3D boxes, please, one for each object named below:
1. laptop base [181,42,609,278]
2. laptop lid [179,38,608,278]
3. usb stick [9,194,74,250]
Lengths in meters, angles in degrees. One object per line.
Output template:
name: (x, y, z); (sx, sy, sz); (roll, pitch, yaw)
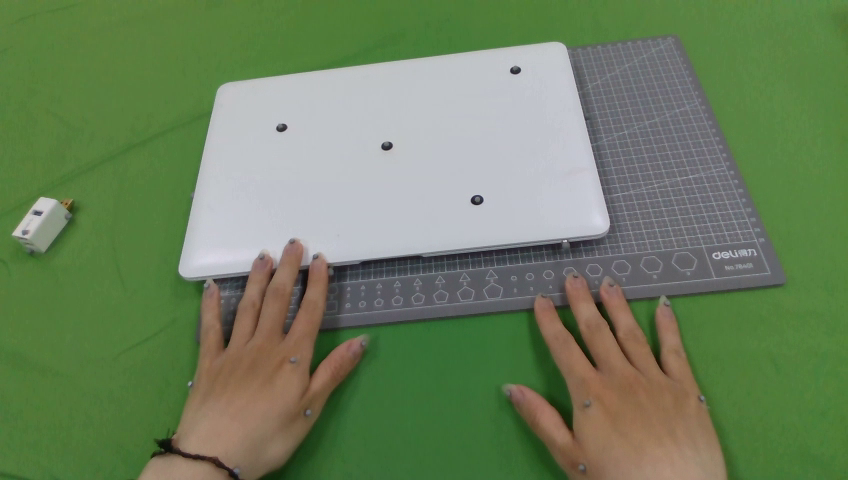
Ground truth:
laptop base: (-0.032, -0.079, 0.555); (0.354, 0.023, 0.233); (-6, 58, 4)
laptop lid: (-0.034, -0.084, 0.543); (0.356, 0.013, 0.239); (-5, 57, 5)
usb stick: (-0.347, -0.022, 0.555); (0.021, 0.027, 0.059); (9, 54, 17)
